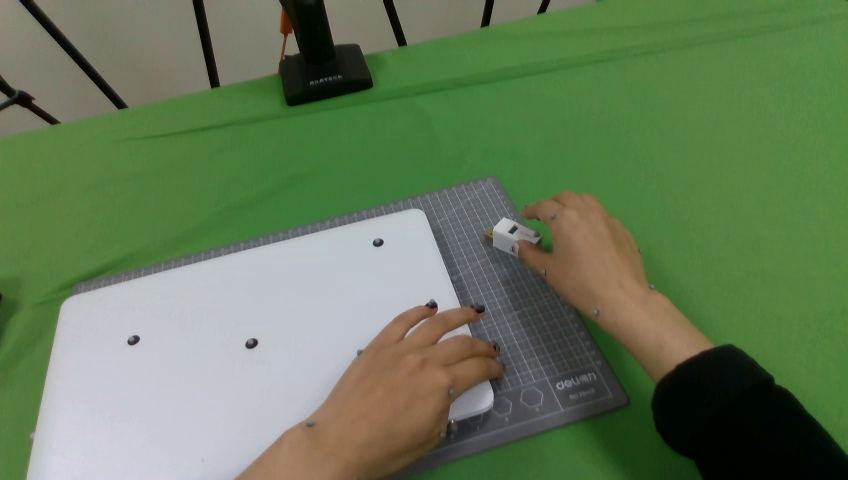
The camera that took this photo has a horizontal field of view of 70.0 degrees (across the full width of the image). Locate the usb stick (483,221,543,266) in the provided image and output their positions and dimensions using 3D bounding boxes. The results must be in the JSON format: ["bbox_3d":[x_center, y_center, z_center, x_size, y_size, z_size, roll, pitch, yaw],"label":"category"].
[{"bbox_3d":[0.082,0.001,0.574,0.058,0.027,0.021,22,52,32],"label":"usb stick"}]

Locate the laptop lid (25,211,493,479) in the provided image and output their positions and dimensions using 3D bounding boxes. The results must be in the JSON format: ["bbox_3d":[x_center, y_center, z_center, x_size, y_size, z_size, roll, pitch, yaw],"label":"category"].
[{"bbox_3d":[-0.143,0.093,0.509,0.357,0.013,0.239,-14,47,-5],"label":"laptop lid"}]

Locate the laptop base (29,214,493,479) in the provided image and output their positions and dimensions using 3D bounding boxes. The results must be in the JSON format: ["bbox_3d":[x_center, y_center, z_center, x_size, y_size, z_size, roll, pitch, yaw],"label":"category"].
[{"bbox_3d":[-0.142,0.100,0.519,0.355,0.023,0.233,-15,48,-6],"label":"laptop base"}]
